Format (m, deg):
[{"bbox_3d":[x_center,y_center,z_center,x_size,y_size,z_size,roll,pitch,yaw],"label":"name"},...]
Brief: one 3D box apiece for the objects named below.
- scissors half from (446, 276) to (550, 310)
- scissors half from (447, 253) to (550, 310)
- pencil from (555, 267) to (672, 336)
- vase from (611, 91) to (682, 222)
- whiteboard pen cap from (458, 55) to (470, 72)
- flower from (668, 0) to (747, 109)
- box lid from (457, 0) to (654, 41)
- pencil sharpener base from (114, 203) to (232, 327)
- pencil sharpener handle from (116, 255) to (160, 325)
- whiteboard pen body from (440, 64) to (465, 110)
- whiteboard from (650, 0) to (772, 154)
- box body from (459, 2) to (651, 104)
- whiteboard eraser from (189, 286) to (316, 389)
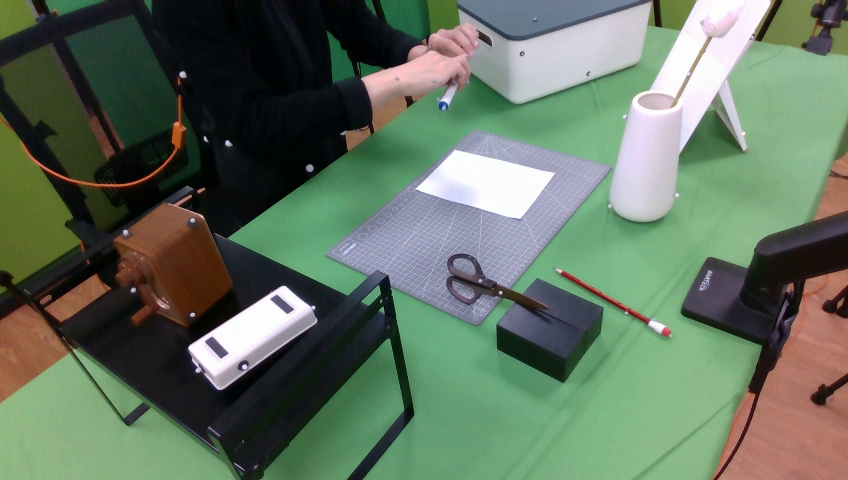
[{"bbox_3d":[0.098,0.077,0.827,0.174,0.040,0.013,6,14,44],"label":"scissors half"},{"bbox_3d":[0.098,0.058,0.821,0.173,0.040,0.013,27,33,37],"label":"scissors half"},{"bbox_3d":[0.260,0.082,0.850,0.012,0.012,0.192,-33,46,-27],"label":"pencil"},{"bbox_3d":[0.348,-0.125,0.935,0.098,0.201,0.097,-3,40,3],"label":"vase"},{"bbox_3d":[0.064,-0.292,1.009,0.018,0.018,0.033,8,50,16],"label":"whiteboard pen cap"},{"bbox_3d":[0.354,-0.187,0.879,0.038,0.362,0.044,31,48,15],"label":"flower"},{"bbox_3d":[0.285,-0.522,1.323,0.373,0.015,0.261,-22,43,-16],"label":"box lid"},{"bbox_3d":[-0.262,0.029,0.635,0.061,0.107,0.077,18,47,26],"label":"pencil sharpener base"},{"bbox_3d":[-0.286,0.050,0.594,0.035,0.068,0.031,7,41,35],"label":"pencil sharpener handle"},{"bbox_3d":[0.049,-0.252,0.969,0.017,0.017,0.140,7,47,15],"label":"whiteboard pen body"},{"bbox_3d":[0.543,-0.298,1.076,0.144,0.305,0.216,12,40,-7],"label":"whiteboard"},{"bbox_3d":[0.291,-0.465,1.371,0.365,0.161,0.252,-22,42,-16],"label":"box body"},{"bbox_3d":[-0.166,0.096,0.593,0.113,0.042,0.055,-36,46,-29],"label":"whiteboard eraser"}]
